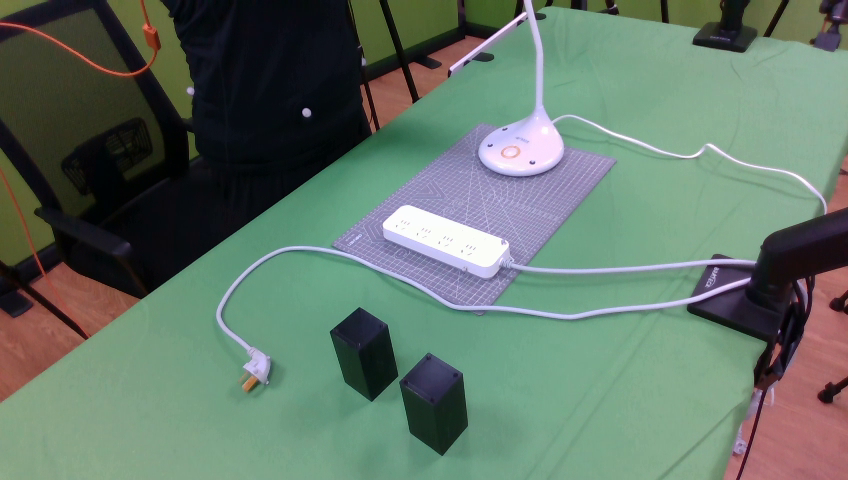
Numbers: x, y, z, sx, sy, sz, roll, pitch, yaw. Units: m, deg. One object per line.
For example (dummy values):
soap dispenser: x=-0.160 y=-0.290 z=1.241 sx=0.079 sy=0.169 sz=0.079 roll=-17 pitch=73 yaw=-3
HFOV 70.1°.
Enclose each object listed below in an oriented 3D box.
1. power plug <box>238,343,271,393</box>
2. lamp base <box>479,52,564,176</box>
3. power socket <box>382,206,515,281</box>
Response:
power plug: x=-0.230 y=0.172 z=0.801 sx=0.072 sy=0.035 sz=0.053 roll=9 pitch=51 yaw=50
lamp base: x=0.181 y=-0.235 z=1.094 sx=0.159 sy=0.181 sz=0.179 roll=18 pitch=44 yaw=27
power socket: x=0.032 y=0.002 z=0.950 sx=0.225 sy=0.033 sz=0.072 roll=21 pitch=49 yaw=29
